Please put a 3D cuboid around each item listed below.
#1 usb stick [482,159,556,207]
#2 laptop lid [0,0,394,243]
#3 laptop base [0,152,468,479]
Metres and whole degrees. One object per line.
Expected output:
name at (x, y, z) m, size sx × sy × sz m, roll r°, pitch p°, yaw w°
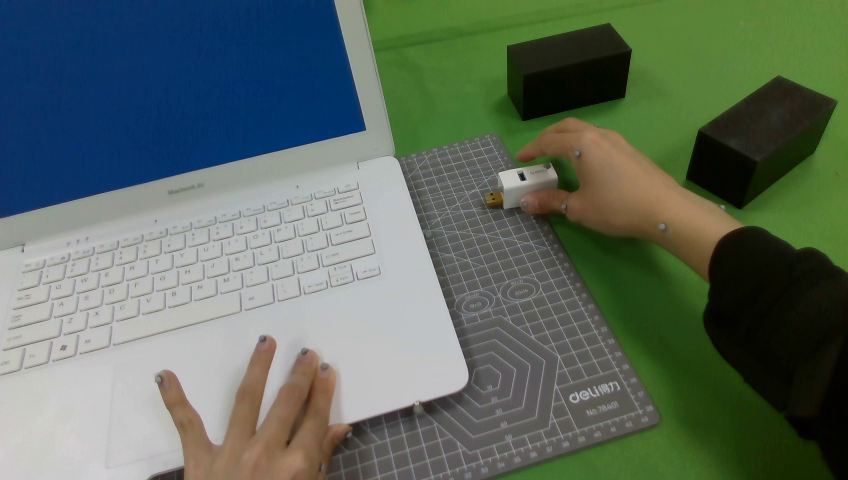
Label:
usb stick at (0.075, -0.044, 0.486) m, size 0.059 × 0.027 × 0.021 m, roll -14°, pitch 46°, yaw 0°
laptop lid at (-0.214, -0.126, 0.454) m, size 0.357 × 0.244 × 0.013 m, roll -16°, pitch 34°, yaw -4°
laptop base at (-0.166, 0.054, 0.443) m, size 0.355 × 0.023 × 0.233 m, roll -15°, pitch 52°, yaw -5°
